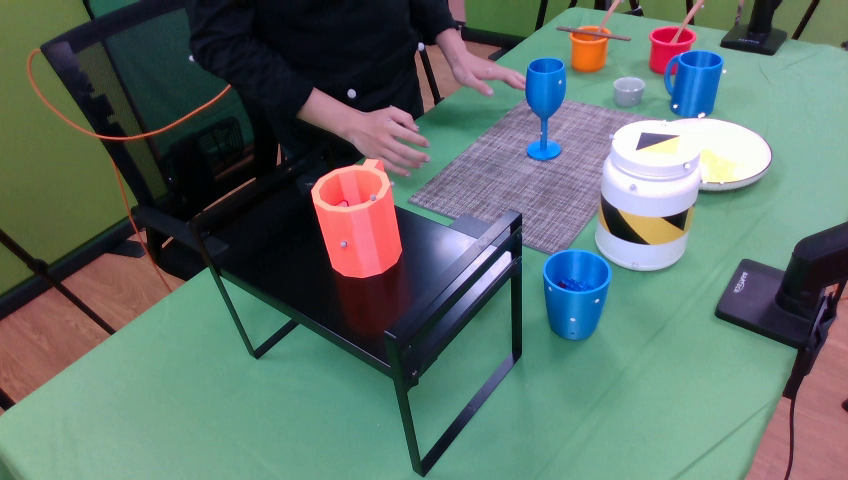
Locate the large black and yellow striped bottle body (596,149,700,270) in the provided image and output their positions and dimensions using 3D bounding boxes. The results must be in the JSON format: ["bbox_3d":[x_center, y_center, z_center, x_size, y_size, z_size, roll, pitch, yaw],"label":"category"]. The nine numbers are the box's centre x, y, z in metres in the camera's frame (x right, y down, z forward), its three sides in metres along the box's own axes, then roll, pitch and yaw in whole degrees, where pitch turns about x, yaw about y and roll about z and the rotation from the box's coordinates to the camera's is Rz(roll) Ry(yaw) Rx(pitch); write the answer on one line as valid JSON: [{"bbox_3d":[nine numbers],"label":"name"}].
[{"bbox_3d":[0.323,-0.062,0.877,0.131,0.185,0.130,-5,40,4],"label":"large black and yellow striped bottle body"}]

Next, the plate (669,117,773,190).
[{"bbox_3d":[0.495,-0.148,1.063,0.209,0.038,0.208,-5,40,4],"label":"plate"}]

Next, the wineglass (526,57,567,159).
[{"bbox_3d":[0.221,-0.237,1.097,0.074,0.173,0.073,-5,41,4],"label":"wineglass"}]

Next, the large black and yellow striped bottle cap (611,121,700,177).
[{"bbox_3d":[0.315,-0.126,0.823,0.115,0.019,0.114,-4,42,4],"label":"large black and yellow striped bottle cap"}]

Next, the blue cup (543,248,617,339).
[{"bbox_3d":[0.199,0.076,0.797,0.092,0.100,0.092,-4,39,4],"label":"blue cup"}]

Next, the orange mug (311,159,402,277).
[{"bbox_3d":[-0.070,-0.034,0.694,0.083,0.101,0.126,5,46,16],"label":"orange mug"}]

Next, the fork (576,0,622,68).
[{"bbox_3d":[0.409,-0.484,1.381,0.028,0.019,0.207,37,101,46],"label":"fork"}]

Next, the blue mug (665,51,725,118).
[{"bbox_3d":[0.526,-0.314,1.199,0.082,0.106,0.115,-27,44,-21],"label":"blue mug"}]

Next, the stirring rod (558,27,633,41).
[{"bbox_3d":[0.381,-0.463,1.356,0.175,0.006,0.014,21,48,30],"label":"stirring rod"}]

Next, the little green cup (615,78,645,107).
[{"bbox_3d":[0.426,-0.306,1.257,0.061,0.039,0.061,-5,40,4],"label":"little green cup"}]

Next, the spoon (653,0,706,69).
[{"bbox_3d":[0.570,-0.461,1.334,0.041,0.022,0.193,39,102,42],"label":"spoon"}]
